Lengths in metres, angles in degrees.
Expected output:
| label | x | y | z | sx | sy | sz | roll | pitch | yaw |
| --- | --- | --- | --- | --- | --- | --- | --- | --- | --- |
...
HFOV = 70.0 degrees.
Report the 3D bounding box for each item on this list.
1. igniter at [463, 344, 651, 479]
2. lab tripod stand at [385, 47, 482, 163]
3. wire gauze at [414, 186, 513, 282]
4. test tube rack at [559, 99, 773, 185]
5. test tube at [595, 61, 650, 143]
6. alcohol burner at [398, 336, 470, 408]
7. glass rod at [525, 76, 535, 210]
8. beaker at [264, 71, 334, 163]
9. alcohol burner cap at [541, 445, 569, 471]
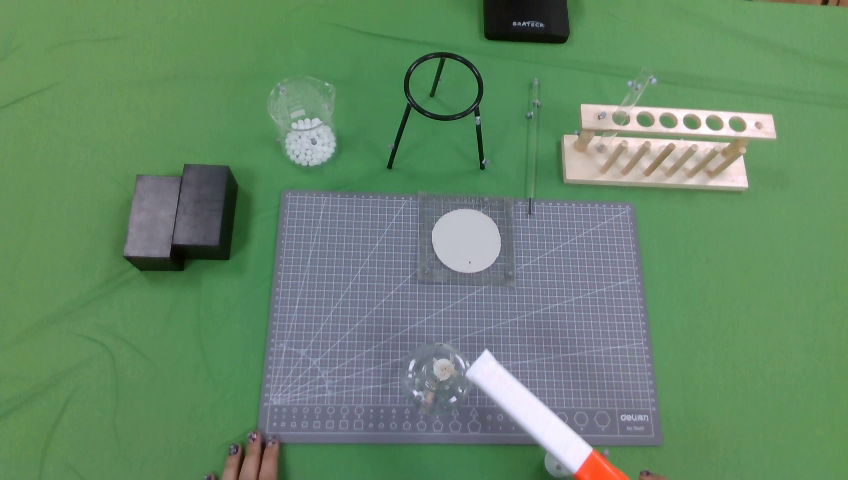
| label | x | y | z | sx | sy | sz | roll | pitch | yaw |
| --- | --- | --- | --- | --- | --- | --- | --- | --- | --- |
| igniter | 0.146 | 0.199 | 0.542 | 0.275 | 0.025 | 0.057 | 42 | 72 | 9 |
| lab tripod stand | 0.013 | -0.160 | 0.734 | 0.148 | 0.132 | 0.147 | 1 | 69 | -2 |
| wire gauze | 0.049 | -0.010 | 0.749 | 0.125 | 0.011 | 0.120 | 3 | 69 | -3 |
| test tube rack | 0.304 | -0.123 | 0.771 | 0.243 | 0.085 | 0.066 | 2 | 70 | -4 |
| test tube | 0.234 | -0.160 | 0.726 | 0.017 | 0.151 | 0.017 | 1 | 67 | -3 |
| alcohol burner | 0.013 | 0.136 | 0.638 | 0.078 | 0.119 | 0.077 | 2 | 69 | -5 |
| glass rod | 0.140 | -0.131 | 0.799 | 0.008 | 0.008 | 0.198 | 7 | 72 | -3 |
| beaker | -0.144 | -0.146 | 0.734 | 0.084 | 0.101 | 0.073 | -36 | 77 | -16 |
| alcohol burner cap | 0.149 | 0.233 | 0.657 | 0.034 | 0.048 | 0.033 | 1 | 69 | -3 |
